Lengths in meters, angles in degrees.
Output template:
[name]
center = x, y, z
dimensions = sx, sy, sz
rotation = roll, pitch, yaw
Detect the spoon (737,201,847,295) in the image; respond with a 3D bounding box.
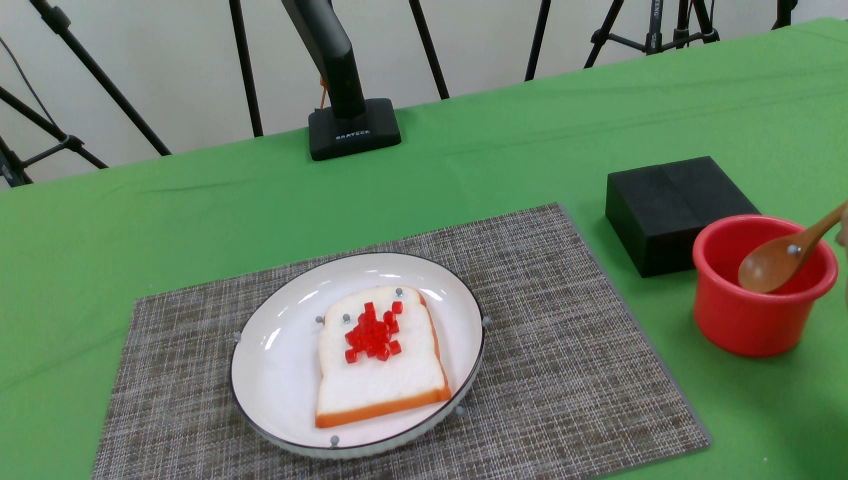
[spoon]
center = 0.276, -0.014, 0.399
dimensions = 0.022, 0.195, 0.041
rotation = 12, 59, -5

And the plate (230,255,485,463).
[plate]
center = -0.053, 0.094, 0.503
dimensions = 0.209, 0.038, 0.207
rotation = -6, 40, 5

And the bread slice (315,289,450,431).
[bread slice]
center = -0.041, 0.092, 0.506
dimensions = 0.105, 0.019, 0.130
rotation = -11, 40, -2
